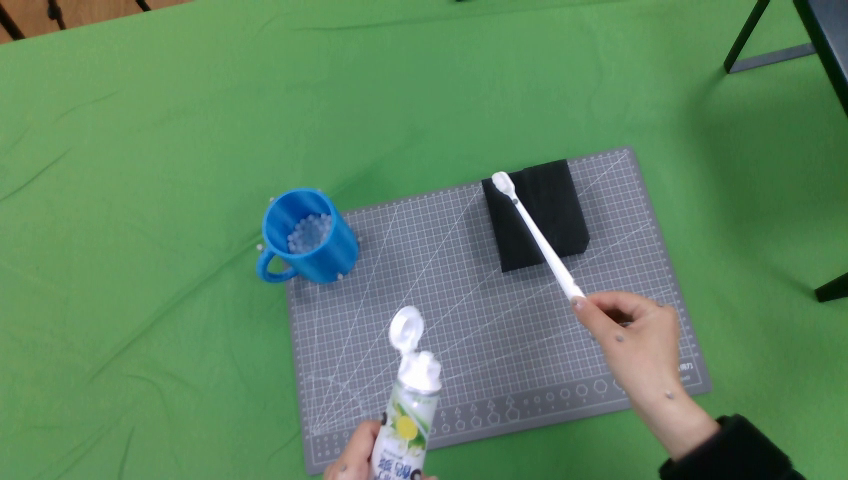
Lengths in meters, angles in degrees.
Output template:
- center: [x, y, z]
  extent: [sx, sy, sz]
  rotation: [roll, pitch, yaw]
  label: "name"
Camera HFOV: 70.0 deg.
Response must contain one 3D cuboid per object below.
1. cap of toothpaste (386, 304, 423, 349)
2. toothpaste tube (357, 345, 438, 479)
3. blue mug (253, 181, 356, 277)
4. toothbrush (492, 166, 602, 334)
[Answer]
- center: [-0.013, 0.067, 0.467]
  extent: [0.011, 0.038, 0.037]
  rotation: [12, 72, 44]
  label: "cap of toothpaste"
- center: [-0.022, 0.158, 0.471]
  extent: [0.055, 0.034, 0.165]
  rotation: [17, 100, 20]
  label: "toothpaste tube"
- center: [-0.143, 0.001, 0.696]
  extent: [0.116, 0.106, 0.082]
  rotation: [-39, 72, -6]
  label: "blue mug"
- center: [0.111, 0.006, 0.557]
  extent: [0.014, 0.017, 0.181]
  rotation: [-35, 75, 21]
  label: "toothbrush"
